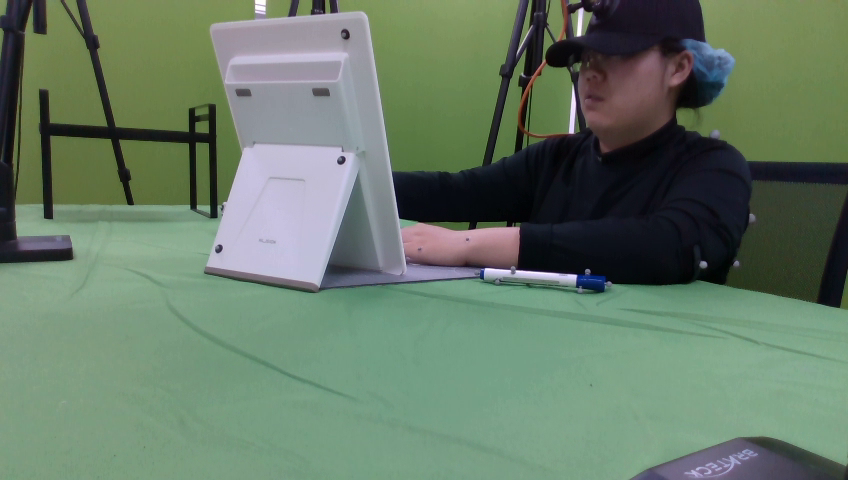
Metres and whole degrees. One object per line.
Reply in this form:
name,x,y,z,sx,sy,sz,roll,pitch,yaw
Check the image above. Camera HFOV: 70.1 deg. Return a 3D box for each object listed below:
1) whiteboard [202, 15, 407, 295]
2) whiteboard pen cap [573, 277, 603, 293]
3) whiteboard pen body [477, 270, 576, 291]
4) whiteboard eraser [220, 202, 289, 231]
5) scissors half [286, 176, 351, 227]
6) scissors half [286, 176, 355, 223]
whiteboard,-0.166,-0.073,0.668,0.216,0.305,0.144,7,30,28
whiteboard pen cap,0.186,0.051,0.687,0.033,0.018,0.018,4,8,17
whiteboard pen body,0.131,0.048,0.706,0.140,0.017,0.017,4,8,18
whiteboard eraser,-0.307,-0.042,1.096,0.113,0.042,0.055,9,6,-37
scissors half,-0.232,-0.085,1.318,0.175,0.013,0.040,39,23,4
scissors half,-0.229,-0.091,1.337,0.175,0.013,0.040,33,18,-13
